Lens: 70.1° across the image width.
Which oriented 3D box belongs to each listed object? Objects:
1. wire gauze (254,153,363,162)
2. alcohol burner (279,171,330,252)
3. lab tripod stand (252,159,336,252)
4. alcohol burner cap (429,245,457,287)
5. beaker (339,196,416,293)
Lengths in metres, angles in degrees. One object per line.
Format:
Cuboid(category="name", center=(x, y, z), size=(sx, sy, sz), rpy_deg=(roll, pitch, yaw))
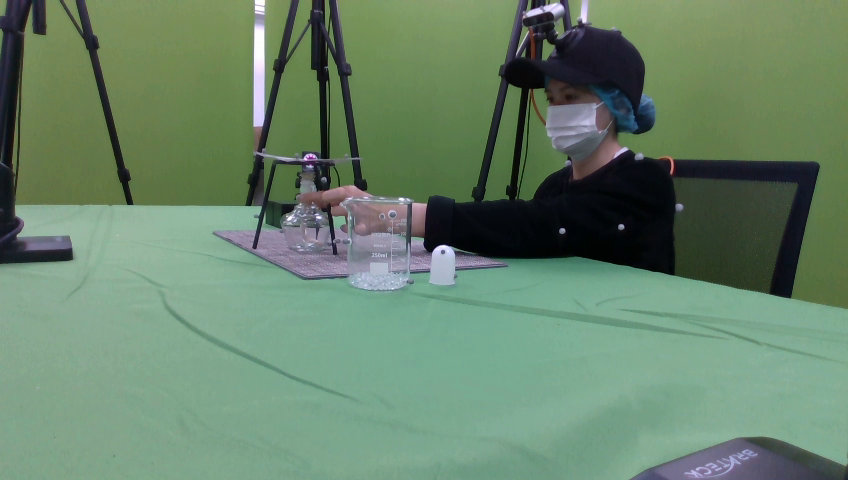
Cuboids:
Cuboid(category="wire gauze", center=(-0.172, -0.119, 0.891), size=(0.122, 0.011, 0.124), rpy_deg=(-2, 7, -38))
Cuboid(category="alcohol burner", center=(-0.174, -0.043, 0.896), size=(0.078, 0.119, 0.078), rpy_deg=(3, 5, 0))
Cuboid(category="lab tripod stand", center=(-0.180, -0.053, 0.900), size=(0.148, 0.131, 0.148), rpy_deg=(1, 6, 0))
Cuboid(category="alcohol burner cap", center=(0.024, 0.030, 0.705), size=(0.034, 0.048, 0.034), rpy_deg=(2, 7, 0))
Cuboid(category="beaker", center=(-0.052, 0.004, 0.661), size=(0.084, 0.100, 0.073), rpy_deg=(-1, 7, -18))
